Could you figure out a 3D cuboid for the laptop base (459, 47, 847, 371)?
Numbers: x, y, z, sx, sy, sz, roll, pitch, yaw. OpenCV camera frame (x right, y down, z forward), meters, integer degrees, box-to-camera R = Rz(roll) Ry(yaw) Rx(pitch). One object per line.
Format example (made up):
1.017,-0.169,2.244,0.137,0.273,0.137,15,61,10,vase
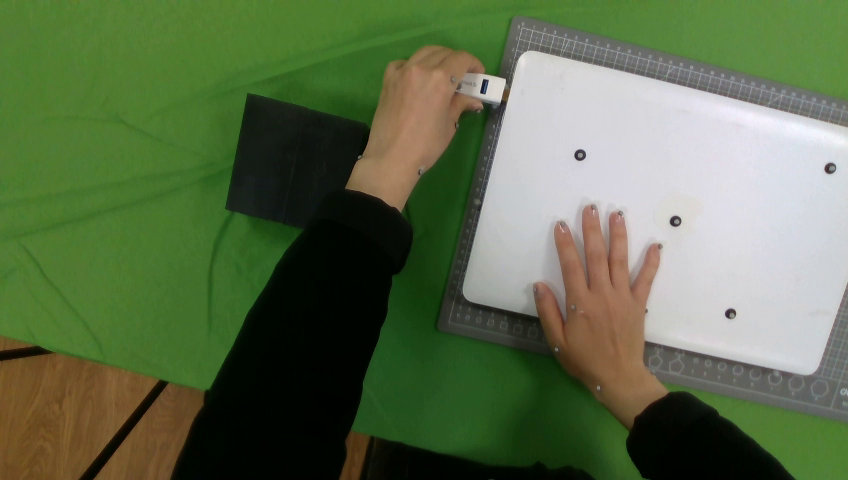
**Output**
0.227,-0.023,0.567,0.355,0.023,0.236,12,100,-3,laptop base

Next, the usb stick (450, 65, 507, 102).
0.053,-0.137,0.537,0.059,0.027,0.021,13,96,-3,usb stick

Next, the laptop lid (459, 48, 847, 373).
0.227,-0.019,0.557,0.357,0.013,0.242,14,99,-3,laptop lid
